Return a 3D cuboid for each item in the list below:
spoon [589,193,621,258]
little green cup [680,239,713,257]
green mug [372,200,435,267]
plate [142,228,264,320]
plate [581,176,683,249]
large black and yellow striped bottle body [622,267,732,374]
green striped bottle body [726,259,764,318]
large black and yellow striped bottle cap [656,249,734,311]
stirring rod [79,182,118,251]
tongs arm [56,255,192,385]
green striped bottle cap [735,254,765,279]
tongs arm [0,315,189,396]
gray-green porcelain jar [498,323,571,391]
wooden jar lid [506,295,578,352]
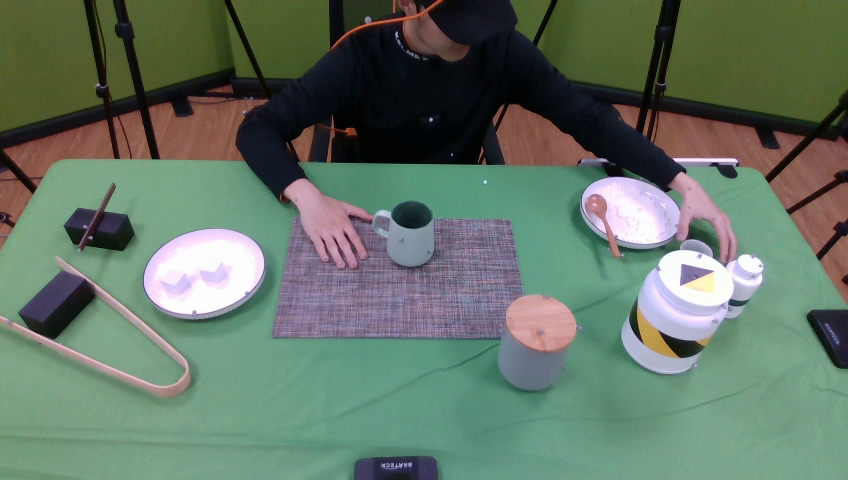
[{"bbox_3d":[0.367,-0.032,1.220,0.041,0.022,0.192,1,38,-1],"label":"spoon"},{"bbox_3d":[0.530,0.033,1.190,0.061,0.039,0.061,3,47,-3],"label":"little green cup"},{"bbox_3d":[-0.040,-0.016,1.146,0.125,0.105,0.092,17,48,13],"label":"green mug"},{"bbox_3d":[-0.394,0.064,1.095,0.208,0.039,0.206,2,46,-2],"label":"plate"},{"bbox_3d":[0.430,-0.054,1.267,0.209,0.038,0.208,2,46,-2],"label":"plate"},{"bbox_3d":[0.415,0.119,0.997,0.131,0.185,0.130,2,46,-2],"label":"large black and yellow striped bottle body"},{"bbox_3d":[0.563,0.081,1.089,0.063,0.120,0.063,2,46,-2],"label":"green striped bottle body"},{"bbox_3d":[0.419,0.061,0.938,0.115,0.019,0.114,2,47,-2],"label":"large black and yellow striped bottle cap"},{"bbox_3d":[-0.605,-0.047,1.130,0.006,0.014,0.175,0,47,1],"label":"stirring rod"},{"bbox_3d":[-0.517,0.126,1.033,0.386,0.028,0.028,30,43,23],"label":"tongs arm"},{"bbox_3d":[0.566,0.046,1.051,0.044,0.020,0.044,0,45,0],"label":"green striped bottle cap"},{"bbox_3d":[-0.555,0.170,0.981,0.384,0.026,0.050,21,43,14],"label":"tongs arm"},{"bbox_3d":[0.176,0.172,0.971,0.106,0.127,0.105,2,46,-2],"label":"gray-green porcelain jar"},{"bbox_3d":[0.179,0.130,0.926,0.108,0.021,0.107,2,43,-2],"label":"wooden jar lid"}]
